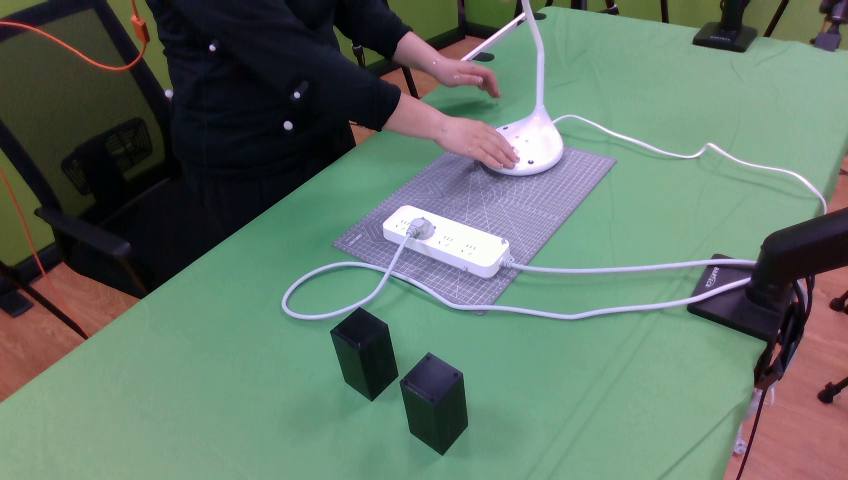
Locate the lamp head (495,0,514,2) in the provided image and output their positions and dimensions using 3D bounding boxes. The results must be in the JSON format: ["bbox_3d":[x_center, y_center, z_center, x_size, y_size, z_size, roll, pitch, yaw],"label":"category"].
[{"bbox_3d":[0.120,-0.419,0.861,0.111,0.113,0.123,24,72,32],"label":"lamp head"}]

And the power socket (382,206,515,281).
[{"bbox_3d":[0.032,0.002,0.950,0.225,0.033,0.072,21,49,29],"label":"power socket"}]

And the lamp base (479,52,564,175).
[{"bbox_3d":[0.181,-0.236,1.095,0.159,0.181,0.179,20,45,28],"label":"lamp base"}]

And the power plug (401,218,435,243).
[{"bbox_3d":[-0.015,-0.006,0.937,0.073,0.053,0.035,-37,47,-26],"label":"power plug"}]
